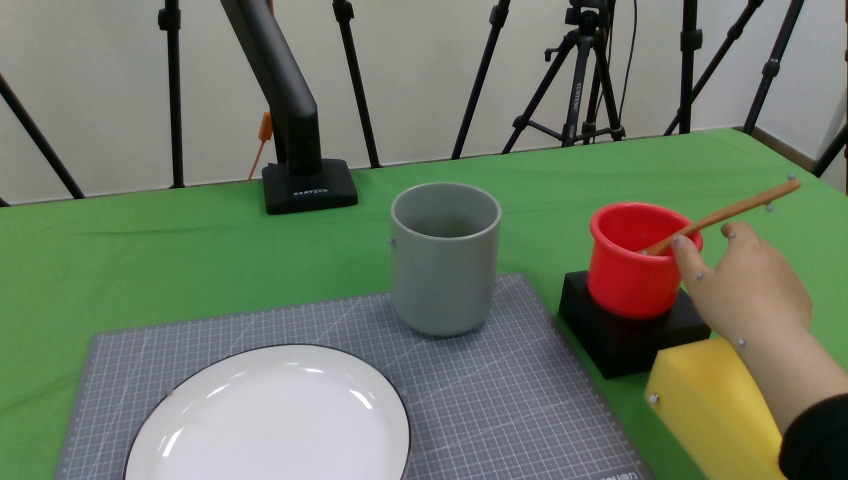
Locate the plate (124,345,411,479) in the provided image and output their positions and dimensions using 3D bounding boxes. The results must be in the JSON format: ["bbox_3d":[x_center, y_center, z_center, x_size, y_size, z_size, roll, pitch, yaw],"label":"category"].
[{"bbox_3d":[-0.113,0.165,0.464,0.208,0.039,0.205,1,34,0],"label":"plate"}]

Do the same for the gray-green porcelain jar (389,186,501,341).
[{"bbox_3d":[0.018,0.027,0.595,0.106,0.127,0.105,1,35,0],"label":"gray-green porcelain jar"}]

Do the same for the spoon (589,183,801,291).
[{"bbox_3d":[0.237,-0.001,0.544,0.194,0.022,0.041,-34,20,29],"label":"spoon"}]

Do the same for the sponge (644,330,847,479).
[{"bbox_3d":[0.284,0.166,0.464,0.118,0.061,0.204,-10,35,-17],"label":"sponge"}]
